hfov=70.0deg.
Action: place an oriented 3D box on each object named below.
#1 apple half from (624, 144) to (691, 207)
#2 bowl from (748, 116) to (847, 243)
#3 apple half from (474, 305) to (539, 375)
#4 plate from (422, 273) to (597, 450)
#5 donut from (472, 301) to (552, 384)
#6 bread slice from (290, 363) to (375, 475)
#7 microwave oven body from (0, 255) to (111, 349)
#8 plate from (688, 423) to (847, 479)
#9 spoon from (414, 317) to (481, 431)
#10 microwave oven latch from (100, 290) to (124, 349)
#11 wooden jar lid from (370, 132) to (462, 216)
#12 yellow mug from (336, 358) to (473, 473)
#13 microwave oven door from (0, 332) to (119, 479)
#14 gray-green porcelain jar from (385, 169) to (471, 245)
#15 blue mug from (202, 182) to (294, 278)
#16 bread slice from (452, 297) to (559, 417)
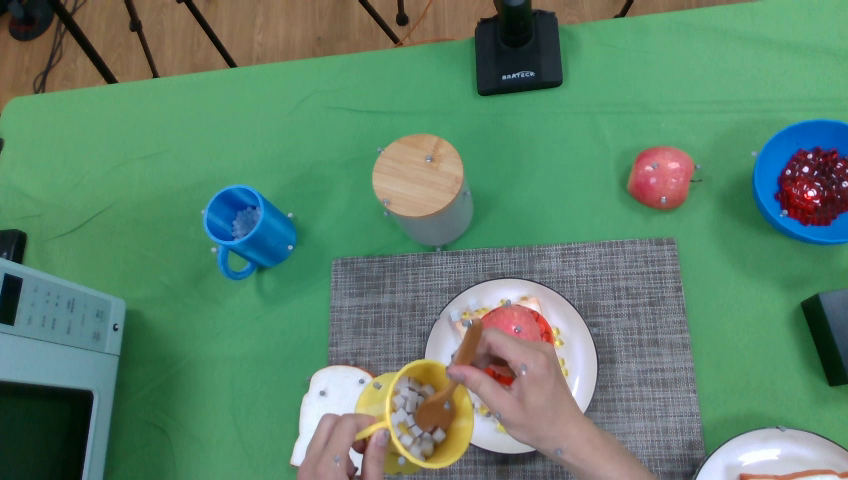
[{"bbox_3d":[0.296,-0.087,0.763,0.074,0.054,0.080,18,78,18],"label":"apple half"},{"bbox_3d":[0.452,-0.059,0.711,0.151,0.077,0.150,-3,73,10],"label":"bowl"},{"bbox_3d":[0.091,0.109,0.677,0.081,0.033,0.081,-6,70,16],"label":"apple half"},{"bbox_3d":[0.101,0.145,0.733,0.207,0.039,0.206,-3,73,10],"label":"plate"},{"bbox_3d":[0.101,0.121,0.711,0.099,0.048,0.098,-3,73,10],"label":"donut"},{"bbox_3d":[-0.110,0.221,0.762,0.104,0.019,0.131,4,76,10],"label":"bread slice"},{"bbox_3d":[-0.597,0.258,0.712,0.325,0.262,0.439,-3,73,9],"label":"microwave oven body"},{"bbox_3d":[0.379,0.301,0.636,0.209,0.038,0.208,-3,72,10],"label":"plate"},{"bbox_3d":[0.025,0.126,0.541,0.042,0.195,0.021,4,52,-12],"label":"spoon"},{"bbox_3d":[-0.435,0.109,0.829,0.030,0.030,0.078,0,74,11],"label":"microwave oven latch"},{"bbox_3d":[-0.009,-0.076,0.710,0.108,0.021,0.107,-3,70,8],"label":"wooden jar lid"},{"bbox_3d":[-0.023,0.172,0.579,0.131,0.064,0.099,-7,73,-37],"label":"yellow mug"},{"bbox_3d":[-0.454,0.288,0.670,0.039,0.245,0.353,-4,72,10],"label":"microwave oven door"},{"bbox_3d":[0.004,-0.057,0.770,0.105,0.127,0.105,-3,72,10],"label":"gray-green porcelain jar"},{"bbox_3d":[-0.239,-0.005,0.811,0.082,0.106,0.116,17,77,15],"label":"blue mug"},{"bbox_3d":[0.106,0.145,0.738,0.107,0.018,0.133,-20,67,2],"label":"bread slice"}]
